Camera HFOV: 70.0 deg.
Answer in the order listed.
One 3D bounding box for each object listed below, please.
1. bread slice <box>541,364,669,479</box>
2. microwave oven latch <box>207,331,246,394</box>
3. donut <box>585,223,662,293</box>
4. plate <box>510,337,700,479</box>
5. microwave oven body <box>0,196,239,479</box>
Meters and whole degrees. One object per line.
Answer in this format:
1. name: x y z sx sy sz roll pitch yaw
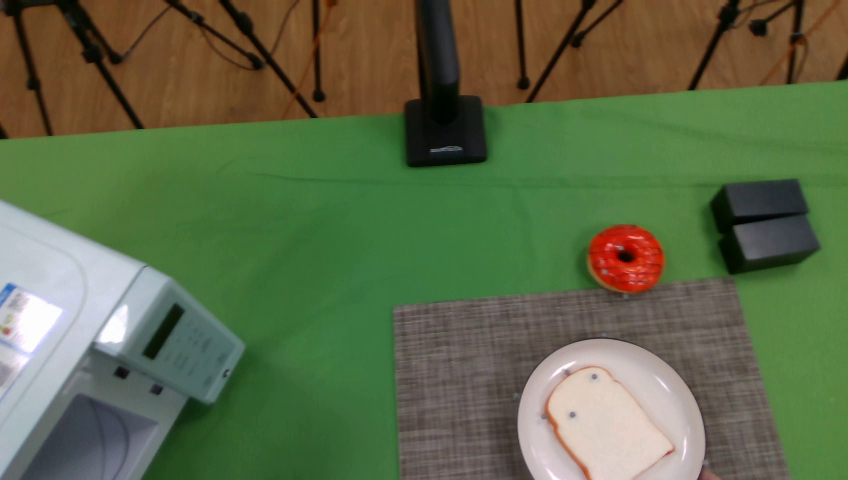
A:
1. bread slice: 0.198 0.210 0.695 0.105 0.019 0.130 -32 70 -10
2. microwave oven latch: -0.249 0.146 0.738 0.030 0.030 0.079 24 69 11
3. donut: 0.261 0.023 0.795 0.099 0.048 0.098 -2 63 5
4. plate: 0.202 0.216 0.690 0.207 0.039 0.206 -1 67 4
5. microwave oven body: -0.460 0.200 0.613 0.325 0.262 0.439 22 69 10
